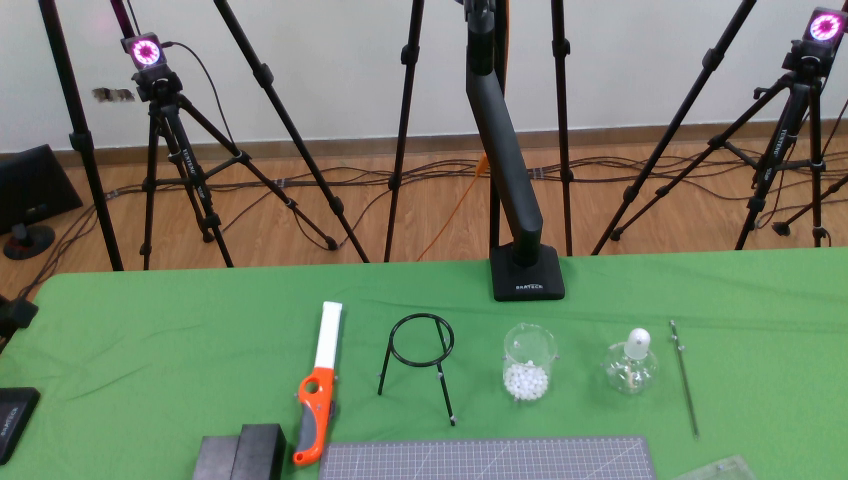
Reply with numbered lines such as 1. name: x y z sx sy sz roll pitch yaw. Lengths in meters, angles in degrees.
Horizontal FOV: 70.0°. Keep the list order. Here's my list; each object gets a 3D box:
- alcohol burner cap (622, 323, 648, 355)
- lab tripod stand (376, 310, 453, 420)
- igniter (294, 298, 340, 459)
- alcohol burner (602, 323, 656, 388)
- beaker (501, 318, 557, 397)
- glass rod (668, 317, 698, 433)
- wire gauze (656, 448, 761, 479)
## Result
1. alcohol burner cap: 0.298 0.136 0.850 0.034 0.048 0.033 -3 51 4
2. lab tripod stand: -0.002 0.171 0.870 0.148 0.133 0.147 -2 44 3
3. igniter: -0.158 0.201 0.922 0.057 0.025 0.273 10 45 -9
4. alcohol burner: 0.300 0.161 0.876 0.078 0.120 0.077 -1 44 2
5. beaker: 0.149 0.174 0.882 0.074 0.101 0.083 -8 46 -5
6. glass rod: 0.387 0.197 0.910 0.008 0.008 0.198 2 46 5
7. wire gauze: 0.385 0.339 0.774 0.125 0.011 0.120 -16 47 -9
